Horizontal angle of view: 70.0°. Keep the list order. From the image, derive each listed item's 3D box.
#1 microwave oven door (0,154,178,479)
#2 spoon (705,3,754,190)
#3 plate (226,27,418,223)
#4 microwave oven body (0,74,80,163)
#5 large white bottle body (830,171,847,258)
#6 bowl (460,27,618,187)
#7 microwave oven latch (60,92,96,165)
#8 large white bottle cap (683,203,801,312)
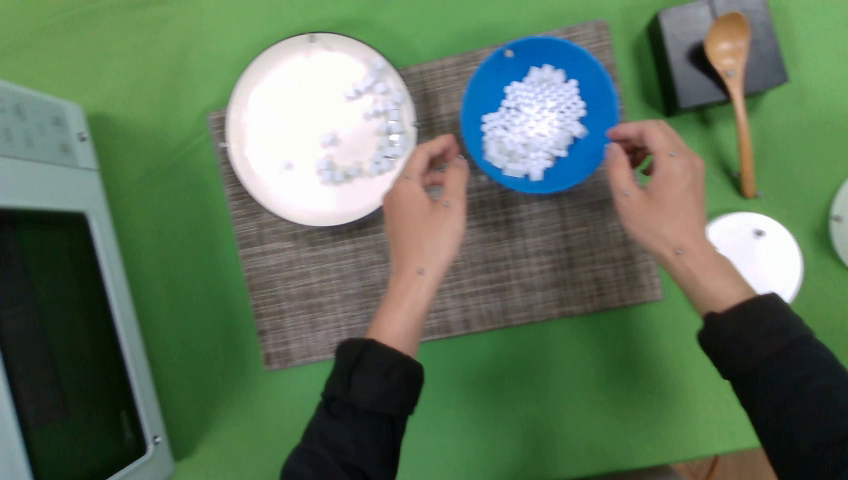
[{"bbox_3d":[-0.351,0.095,0.574,0.039,0.244,0.355,-14,91,6],"label":"microwave oven door"},{"bbox_3d":[0.307,-0.134,0.594,0.041,0.021,0.195,-19,112,4],"label":"spoon"},{"bbox_3d":[-0.108,-0.121,0.657,0.209,0.038,0.209,0,92,5],"label":"plate"},{"bbox_3d":[-0.502,0.089,0.593,0.326,0.260,0.441,-14,91,5],"label":"microwave oven body"},{"bbox_3d":[0.472,-0.026,0.535,0.130,0.185,0.130,0,91,6],"label":"large white bottle body"},{"bbox_3d":[0.113,-0.127,0.615,0.151,0.077,0.151,0,92,6],"label":"bowl"},{"bbox_3d":[-0.391,-0.121,0.671,0.030,0.029,0.079,-13,92,5],"label":"microwave oven latch"},{"bbox_3d":[0.332,0.018,0.634,0.115,0.018,0.115,0,93,5],"label":"large white bottle cap"}]
